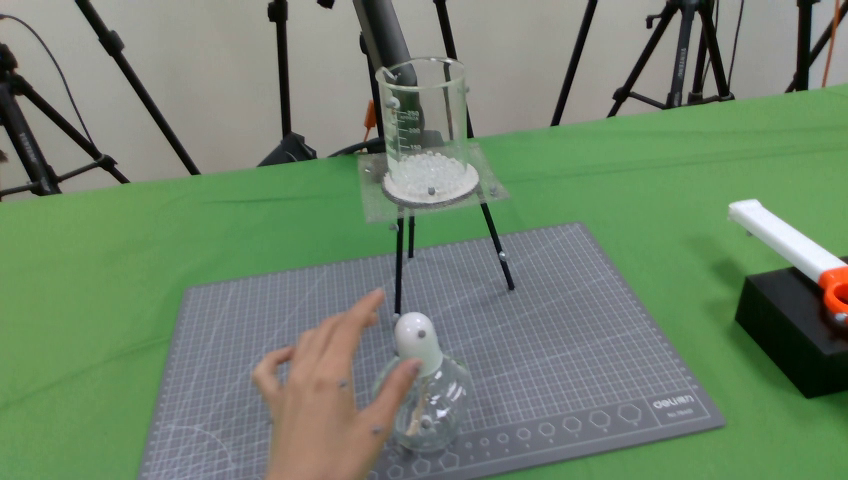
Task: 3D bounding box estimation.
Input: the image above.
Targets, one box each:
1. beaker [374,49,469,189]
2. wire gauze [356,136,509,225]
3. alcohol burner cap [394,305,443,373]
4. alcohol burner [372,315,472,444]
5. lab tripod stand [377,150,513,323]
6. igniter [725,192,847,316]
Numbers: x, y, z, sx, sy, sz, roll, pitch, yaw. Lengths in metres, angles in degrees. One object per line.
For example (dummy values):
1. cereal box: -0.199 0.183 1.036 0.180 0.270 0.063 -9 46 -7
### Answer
1. beaker: -0.002 -0.101 0.513 0.074 0.101 0.083 -31 43 -33
2. wire gauze: 0.002 -0.061 0.540 0.121 0.011 0.123 -10 38 -5
3. alcohol burner cap: -0.005 0.067 0.431 0.034 0.048 0.033 -6 39 5
4. alcohol burner: -0.003 0.096 0.452 0.078 0.120 0.077 -3 38 2
5. lab tripod stand: 0.012 -0.010 0.582 0.148 0.132 0.147 -3 34 2
6. igniter: 0.342 0.030 0.496 0.057 0.025 0.273 -11 32 -6
